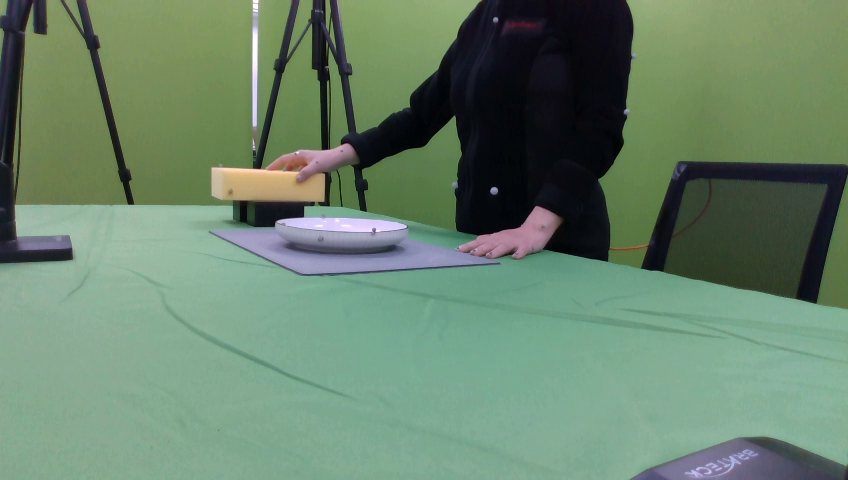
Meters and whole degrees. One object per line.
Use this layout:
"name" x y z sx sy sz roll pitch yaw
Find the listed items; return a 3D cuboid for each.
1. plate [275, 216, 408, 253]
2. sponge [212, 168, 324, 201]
"plate" -0.129 -0.009 0.954 0.209 0.038 0.209 2 7 0
"sponge" -0.325 -0.115 1.259 0.208 0.061 0.117 -2 8 -30
